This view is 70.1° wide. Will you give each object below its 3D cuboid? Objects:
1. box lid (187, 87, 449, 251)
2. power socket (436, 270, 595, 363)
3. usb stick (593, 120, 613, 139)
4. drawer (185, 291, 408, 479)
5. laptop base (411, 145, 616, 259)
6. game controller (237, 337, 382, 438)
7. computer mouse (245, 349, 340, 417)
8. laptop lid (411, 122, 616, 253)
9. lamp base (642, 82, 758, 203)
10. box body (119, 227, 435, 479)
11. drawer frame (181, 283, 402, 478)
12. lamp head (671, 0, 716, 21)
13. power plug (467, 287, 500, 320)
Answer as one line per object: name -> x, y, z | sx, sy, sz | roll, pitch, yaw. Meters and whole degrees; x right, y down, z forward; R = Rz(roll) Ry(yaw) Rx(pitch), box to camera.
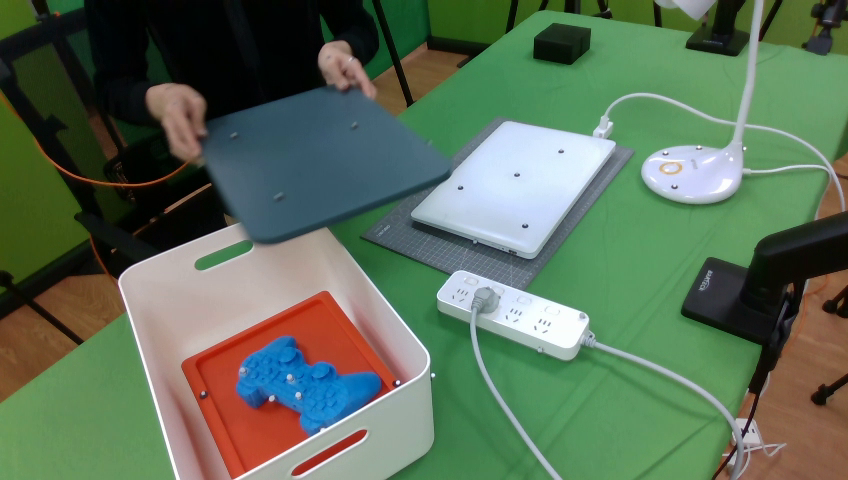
box lid -> -0.158, -0.115, 0.810 | 0.264, 0.015, 0.368 | -23, 38, -19
power socket -> 0.118, 0.101, 0.831 | 0.225, 0.033, 0.072 | 19, 48, 27
usb stick -> 0.336, -0.201, 1.146 | 0.021, 0.027, 0.059 | 25, 52, 27
drawer -> -0.154, 0.179, 0.720 | 0.195, 0.073, 0.210 | -27, 40, -22
laptop base -> 0.168, -0.102, 1.073 | 0.234, 0.023, 0.355 | 17, 45, 31
game controller -> -0.134, 0.157, 0.674 | 0.154, 0.052, 0.097 | 17, 50, 27
computer mouse -> -0.164, 0.172, 0.754 | 0.118, 0.041, 0.062 | -18, 34, -18
laptop lid -> 0.165, -0.111, 1.067 | 0.240, 0.013, 0.357 | 19, 46, 31
lamp base -> 0.464, -0.174, 0.992 | 0.179, 0.181, 0.159 | -5, 41, -1
box body -> -0.175, 0.142, 0.725 | 0.255, 0.161, 0.360 | -25, 43, -20
drawer frame -> -0.152, 0.179, 0.727 | 0.202, 0.083, 0.211 | -28, 49, -20
lamp head -> 0.375, -0.373, 0.807 | 0.122, 0.113, 0.112 | -40, 27, 32
power plug -> 0.073, 0.092, 0.813 | 0.035, 0.053, 0.073 | 29, 53, 35
